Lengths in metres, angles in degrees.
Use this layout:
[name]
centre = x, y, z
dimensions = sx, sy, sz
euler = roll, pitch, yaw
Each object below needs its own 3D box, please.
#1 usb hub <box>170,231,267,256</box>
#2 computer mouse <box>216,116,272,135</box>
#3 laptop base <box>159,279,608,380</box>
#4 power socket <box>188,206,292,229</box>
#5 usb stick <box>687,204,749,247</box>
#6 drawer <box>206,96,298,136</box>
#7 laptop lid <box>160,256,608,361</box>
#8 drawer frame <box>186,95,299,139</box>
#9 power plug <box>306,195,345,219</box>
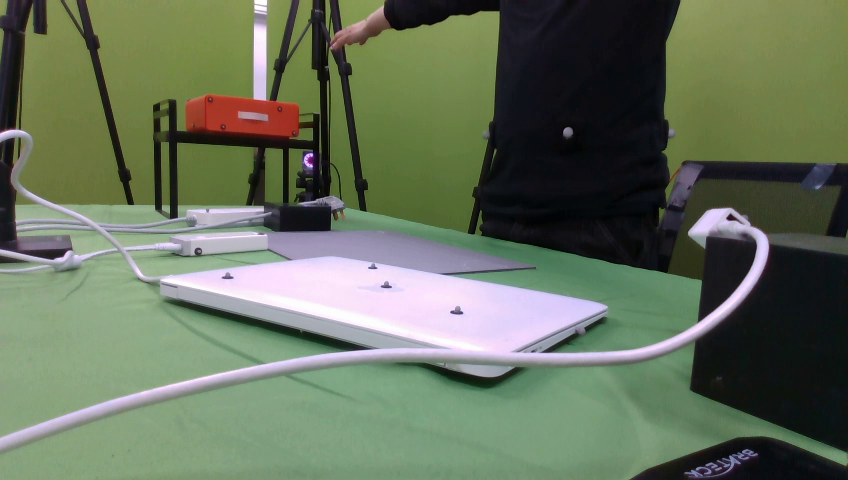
[usb hub]
centre = -0.291, 0.004, 0.862
dimensions = 0.049, 0.025, 0.126
euler = 10, 11, 42
[computer mouse]
centre = -0.402, -0.257, 1.353
dimensions = 0.118, 0.041, 0.062
euler = -5, 14, -35
[laptop base]
centre = -0.039, 0.059, 0.555
dimensions = 0.352, 0.023, 0.237
euler = 8, 7, 33
[power socket]
centre = -0.363, -0.048, 1.208
dimensions = 0.072, 0.032, 0.228
euler = 6, 9, 36
[usb stick]
centre = 0.214, -0.010, 0.447
dimensions = 0.021, 0.027, 0.059
euler = 38, 2, 6
[drawer]
centre = -0.414, -0.276, 1.376
dimensions = 0.195, 0.073, 0.210
euler = -3, 9, -31
[laptop lid]
centre = -0.037, 0.046, 0.555
dimensions = 0.355, 0.013, 0.243
euler = 8, 8, 35
[drawer frame]
centre = -0.417, -0.277, 1.378
dimensions = 0.203, 0.082, 0.212
euler = -3, 8, -32
[power plug]
centre = -0.192, -0.061, 1.199
dimensions = 0.073, 0.052, 0.035
euler = -17, -6, -9
